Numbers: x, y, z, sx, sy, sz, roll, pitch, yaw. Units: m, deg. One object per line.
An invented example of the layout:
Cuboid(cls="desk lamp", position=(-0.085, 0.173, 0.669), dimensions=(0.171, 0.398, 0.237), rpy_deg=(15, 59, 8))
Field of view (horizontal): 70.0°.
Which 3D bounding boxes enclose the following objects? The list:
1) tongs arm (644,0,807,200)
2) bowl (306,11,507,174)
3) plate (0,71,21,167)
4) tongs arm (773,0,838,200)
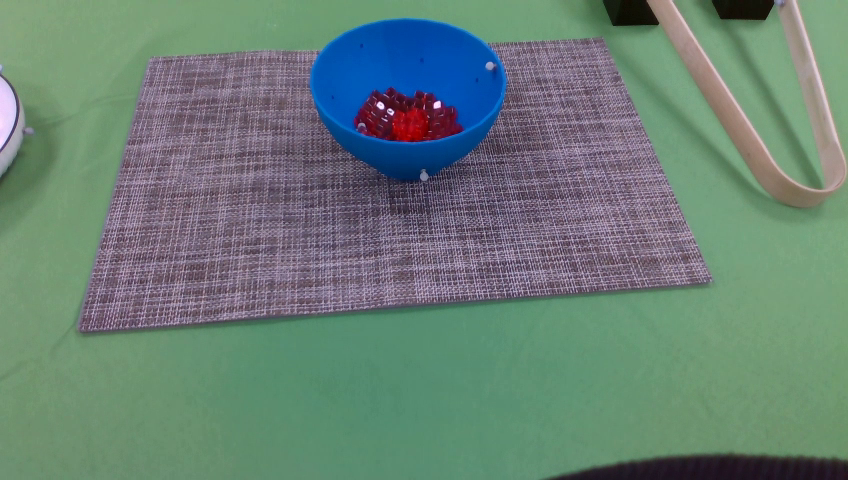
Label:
Cuboid(cls="tongs arm", position=(0.236, -0.203, 0.562), dimensions=(0.028, 0.028, 0.384), rpy_deg=(-12, 66, -14))
Cuboid(cls="bowl", position=(-0.014, -0.107, 0.489), dimensions=(0.151, 0.077, 0.150), rpy_deg=(1, 54, -1))
Cuboid(cls="plate", position=(-0.429, -0.073, 0.479), dimensions=(0.209, 0.038, 0.207), rpy_deg=(1, 54, -1))
Cuboid(cls="tongs arm", position=(0.325, -0.211, 0.570), dimensions=(0.051, 0.027, 0.381), rpy_deg=(1, 65, -4))
